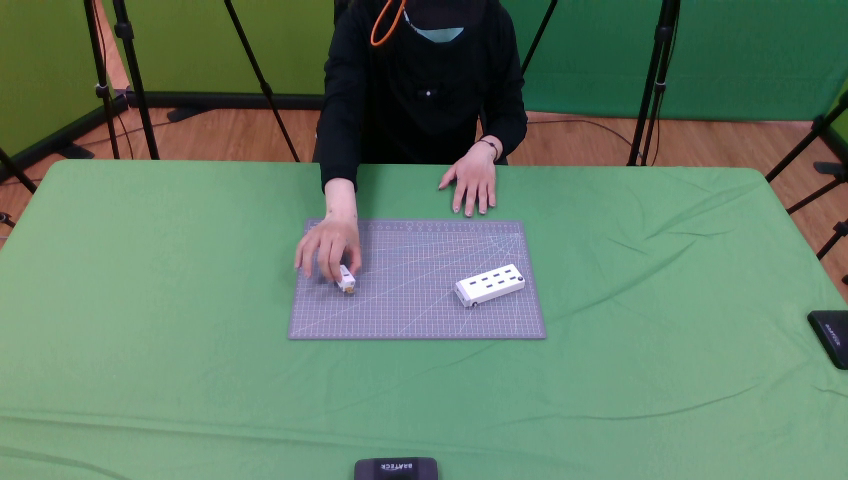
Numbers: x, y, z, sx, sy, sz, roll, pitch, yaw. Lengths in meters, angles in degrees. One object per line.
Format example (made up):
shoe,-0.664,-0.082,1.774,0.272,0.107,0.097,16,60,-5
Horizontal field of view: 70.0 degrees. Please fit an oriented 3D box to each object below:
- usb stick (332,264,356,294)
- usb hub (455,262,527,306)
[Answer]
usb stick,-0.143,0.072,1.105,0.021,0.027,0.059,-10,51,-41
usb hub,0.124,0.082,1.117,0.125,0.025,0.049,-17,50,-18
